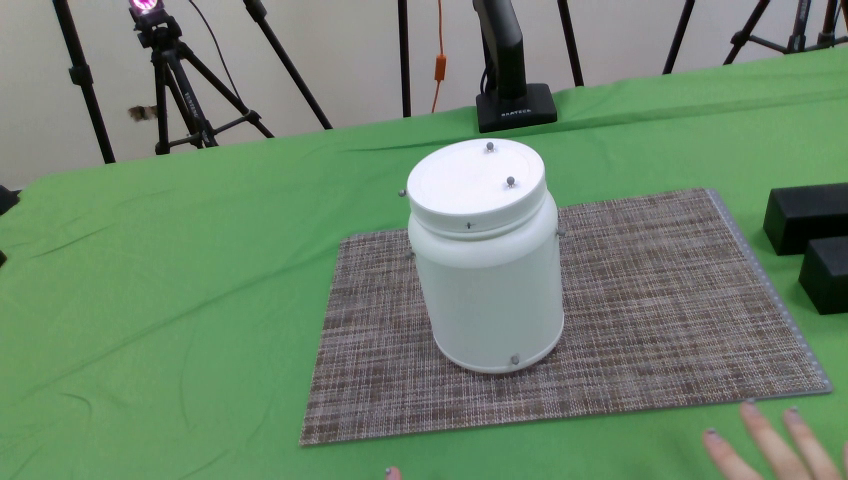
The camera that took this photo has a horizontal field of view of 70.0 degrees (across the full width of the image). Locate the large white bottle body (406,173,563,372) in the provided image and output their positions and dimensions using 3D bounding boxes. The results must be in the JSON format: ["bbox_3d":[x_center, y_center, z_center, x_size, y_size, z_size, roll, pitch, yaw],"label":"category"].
[{"bbox_3d":[0.056,0.016,0.552,0.130,0.186,0.129,-8,38,7],"label":"large white bottle body"}]

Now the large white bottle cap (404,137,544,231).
[{"bbox_3d":[0.040,-0.049,0.499,0.115,0.018,0.113,-8,38,7],"label":"large white bottle cap"}]
